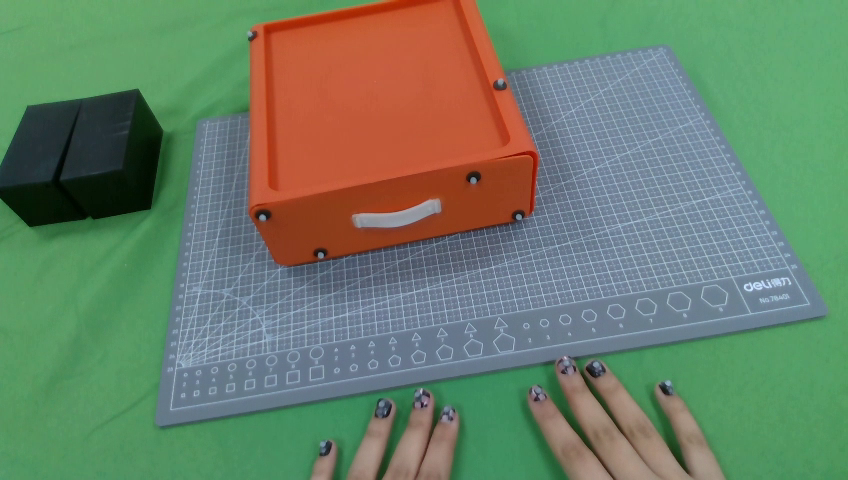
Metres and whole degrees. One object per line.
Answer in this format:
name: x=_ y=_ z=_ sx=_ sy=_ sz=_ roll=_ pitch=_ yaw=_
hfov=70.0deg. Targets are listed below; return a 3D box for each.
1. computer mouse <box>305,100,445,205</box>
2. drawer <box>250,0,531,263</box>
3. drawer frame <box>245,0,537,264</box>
computer mouse: x=-0.041 y=-0.070 z=0.475 sx=0.117 sy=0.041 sz=0.062 roll=-16 pitch=54 yaw=12
drawer: x=-0.035 y=-0.097 z=0.491 sx=0.194 sy=0.074 sz=0.209 roll=-11 pitch=53 yaw=-1
drawer frame: x=-0.035 y=-0.100 z=0.491 sx=0.202 sy=0.083 sz=0.211 roll=-12 pitch=53 yaw=-2
